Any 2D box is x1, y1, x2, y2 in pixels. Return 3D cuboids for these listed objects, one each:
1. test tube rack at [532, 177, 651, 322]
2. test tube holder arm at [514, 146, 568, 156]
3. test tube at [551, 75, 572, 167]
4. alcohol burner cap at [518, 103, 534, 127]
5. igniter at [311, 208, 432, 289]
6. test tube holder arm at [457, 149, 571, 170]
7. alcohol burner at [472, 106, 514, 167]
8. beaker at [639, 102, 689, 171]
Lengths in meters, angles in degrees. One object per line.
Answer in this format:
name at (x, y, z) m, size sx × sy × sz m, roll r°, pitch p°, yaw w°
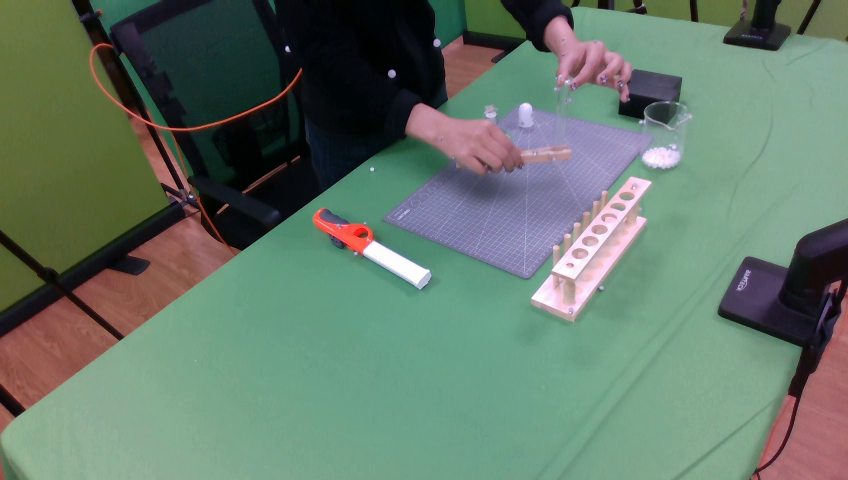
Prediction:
test tube rack at (0.248, 0.003, 0.883) m, size 0.066 × 0.085 × 0.243 m, roll 22°, pitch 49°, yaw 32°
test tube holder arm at (0.181, -0.133, 0.939) m, size 0.088 × 0.015 × 0.010 m, roll -11°, pitch 33°, yaw -13°
test tube at (0.205, -0.174, 0.905) m, size 0.017 × 0.151 × 0.017 m, roll -1°, pitch 41°, yaw 2°
alcohol burner cap at (0.205, -0.254, 1.223) m, size 0.034 × 0.048 × 0.033 m, roll -6°, pitch 40°, yaw 6°
igniter at (-0.096, 0.008, 0.985) m, size 0.274 × 0.025 × 0.057 m, roll 28°, pitch 62°, yaw 36°
test tube holder arm at (0.139, -0.123, 0.927) m, size 0.179 × 0.015 × 0.013 m, roll -7°, pitch 32°, yaw -8°
alcohol burner at (0.126, -0.194, 1.111) m, size 0.078 × 0.119 × 0.077 m, roll -5°, pitch 42°, yaw 5°
beaker at (0.417, -0.177, 1.053) m, size 0.074 × 0.101 × 0.083 m, roll -4°, pitch 41°, yaw 7°
